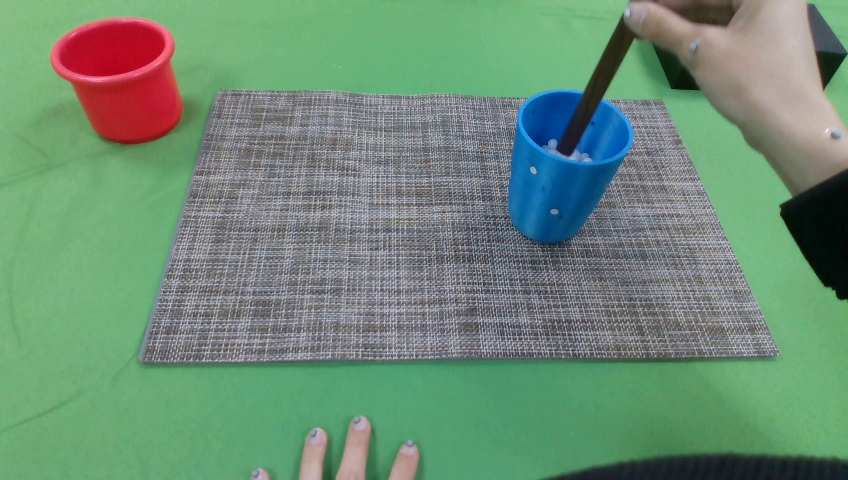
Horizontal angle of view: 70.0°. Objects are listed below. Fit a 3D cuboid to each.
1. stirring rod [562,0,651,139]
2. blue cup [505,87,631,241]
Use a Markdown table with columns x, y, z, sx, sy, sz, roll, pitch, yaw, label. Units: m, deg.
| x | y | z | sx | sy | sz | roll | pitch | yaw | label |
| --- | --- | --- | --- | --- | --- | --- | --- | --- | --- |
| 0.119 | -0.120 | 0.389 | 0.014 | 0.177 | 0.006 | 31 | 51 | 10 | stirring rod |
| 0.103 | -0.053 | 0.475 | 0.093 | 0.101 | 0.091 | 3 | 50 | -4 | blue cup |
